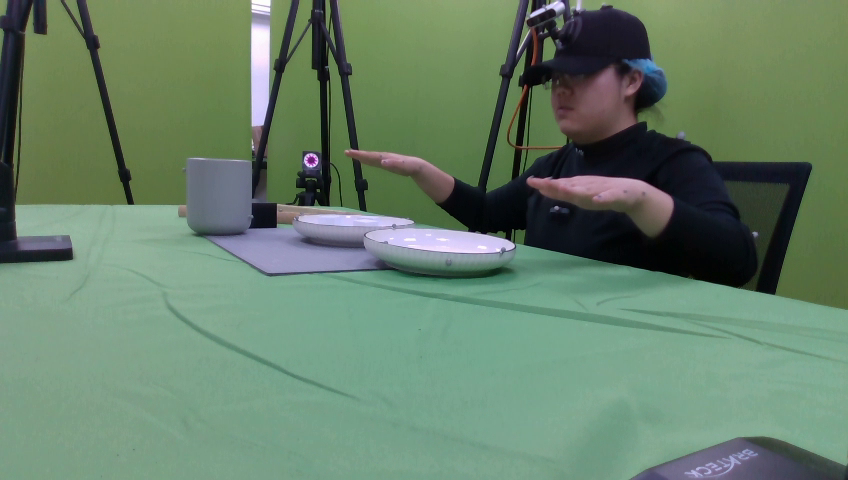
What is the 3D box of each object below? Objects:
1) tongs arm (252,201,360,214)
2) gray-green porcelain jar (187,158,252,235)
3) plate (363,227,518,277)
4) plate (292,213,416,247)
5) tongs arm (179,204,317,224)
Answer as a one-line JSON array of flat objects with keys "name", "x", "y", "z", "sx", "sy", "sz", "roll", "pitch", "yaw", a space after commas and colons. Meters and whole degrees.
[{"name": "tongs arm", "x": -0.307, "y": -0.064, "z": 1.348, "sx": 0.384, "sy": 0.026, "sz": 0.051, "roll": 7, "pitch": 9, "yaw": 20}, {"name": "gray-green porcelain jar", "x": -0.350, "y": -0.075, "z": 1.036, "sx": 0.106, "sy": 0.126, "sz": 0.106, "roll": 3, "pitch": 8, "yaw": 0}, {"name": "plate", "x": 0.022, "y": 0.016, "z": 0.817, "sx": 0.209, "sy": 0.038, "sz": 0.209, "roll": 3, "pitch": 9, "yaw": 0}, {"name": "plate", "x": -0.118, "y": -0.017, "z": 1.024, "sx": 0.208, "sy": 0.039, "sz": 0.207, "roll": 2, "pitch": 8, "yaw": 0}, {"name": "tongs arm", "x": -0.330, "y": -0.052, "z": 1.270, "sx": 0.387, "sy": 0.028, "sz": 0.028, "roll": 4, "pitch": 5, "yaw": 6}]
